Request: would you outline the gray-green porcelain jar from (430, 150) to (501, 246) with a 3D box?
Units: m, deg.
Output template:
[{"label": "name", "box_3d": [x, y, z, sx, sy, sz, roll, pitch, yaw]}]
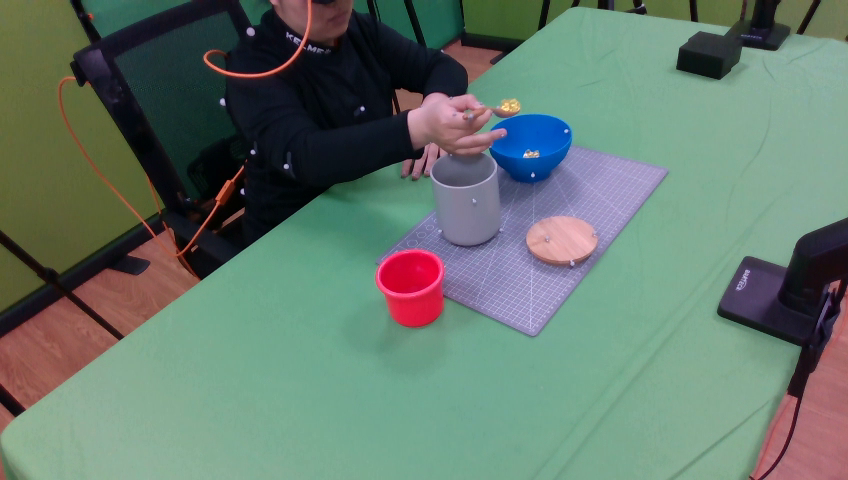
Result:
[{"label": "gray-green porcelain jar", "box_3d": [0.069, -0.062, 0.959, 0.106, 0.127, 0.105, -5, 40, 5]}]

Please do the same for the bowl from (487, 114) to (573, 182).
[{"label": "bowl", "box_3d": [0.190, -0.156, 1.085, 0.151, 0.077, 0.150, -5, 40, 5]}]

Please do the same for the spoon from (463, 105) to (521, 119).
[{"label": "spoon", "box_3d": [0.103, -0.199, 0.932, 0.041, 0.021, 0.195, 9, 15, 28]}]

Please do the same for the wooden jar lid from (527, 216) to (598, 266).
[{"label": "wooden jar lid", "box_3d": [0.214, 0.003, 0.937, 0.108, 0.021, 0.108, -4, 40, 4]}]
